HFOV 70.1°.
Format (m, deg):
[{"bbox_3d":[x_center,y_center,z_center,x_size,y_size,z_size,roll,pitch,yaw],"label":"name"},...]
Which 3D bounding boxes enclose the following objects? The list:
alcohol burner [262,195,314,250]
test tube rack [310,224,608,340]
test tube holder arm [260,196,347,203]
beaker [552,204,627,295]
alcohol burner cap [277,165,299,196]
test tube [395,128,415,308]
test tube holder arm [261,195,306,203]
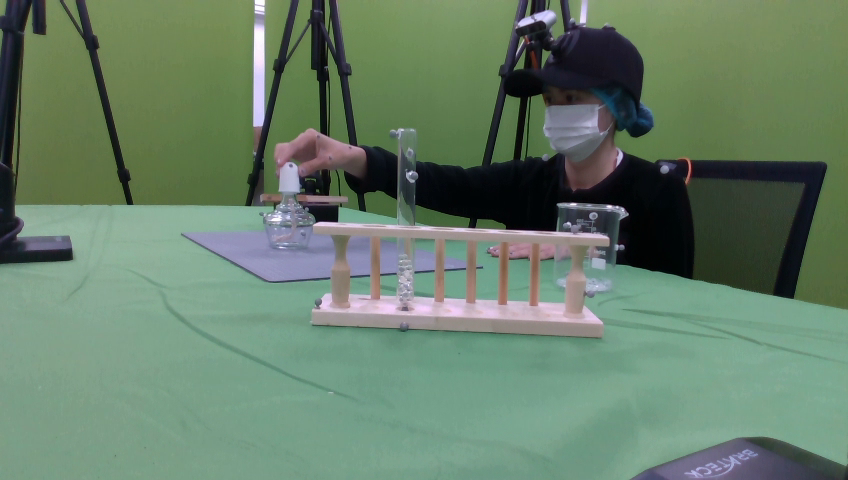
[{"bbox_3d":[-0.205,-0.045,0.913,0.078,0.119,0.078,1,9,0],"label":"alcohol burner"},{"bbox_3d":[0.028,0.032,0.528,0.242,0.085,0.067,3,7,0],"label":"test tube rack"},{"bbox_3d":[-0.239,-0.082,1.213,0.179,0.015,0.013,-1,0,-32],"label":"test tube holder arm"},{"bbox_3d":[0.191,0.010,0.708,0.083,0.100,0.074,8,9,33],"label":"beaker"},{"bbox_3d":[-0.203,-0.089,0.908,0.034,0.048,0.034,0,1,0],"label":"alcohol burner cap"},{"bbox_3d":[-0.016,-0.016,0.502,0.017,0.150,0.017,1,10,0],"label":"test tube"},{"bbox_3d":[-0.275,-0.081,1.184,0.088,0.015,0.010,-1,0,-32],"label":"test tube holder arm"}]
